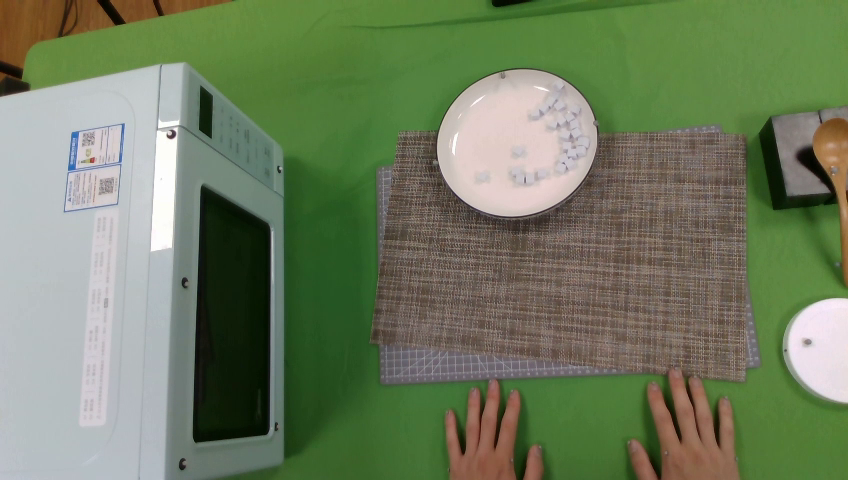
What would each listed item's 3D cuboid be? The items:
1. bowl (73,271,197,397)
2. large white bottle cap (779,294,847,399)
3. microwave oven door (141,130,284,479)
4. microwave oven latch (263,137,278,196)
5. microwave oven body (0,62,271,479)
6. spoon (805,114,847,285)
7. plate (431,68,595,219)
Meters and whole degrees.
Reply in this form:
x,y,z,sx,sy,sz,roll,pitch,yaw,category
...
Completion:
x,y,z,sx,sy,sz,roll,pitch,yaw,category
-0.340,0.119,0.751,0.151,0.077,0.150,-3,75,12,bowl
0.457,0.117,0.667,0.114,0.018,0.114,-3,76,11,large white bottle cap
-0.231,0.085,0.696,0.039,0.245,0.353,-8,75,12,microwave oven door
-0.221,-0.101,0.847,0.030,0.030,0.078,-7,76,11,microwave oven latch
-0.375,0.064,0.740,0.325,0.262,0.439,-7,76,11,microwave oven body
0.454,-0.041,0.668,0.041,0.021,0.194,-12,96,8,spoon
0.114,-0.123,0.790,0.209,0.038,0.208,-3,74,12,plate
